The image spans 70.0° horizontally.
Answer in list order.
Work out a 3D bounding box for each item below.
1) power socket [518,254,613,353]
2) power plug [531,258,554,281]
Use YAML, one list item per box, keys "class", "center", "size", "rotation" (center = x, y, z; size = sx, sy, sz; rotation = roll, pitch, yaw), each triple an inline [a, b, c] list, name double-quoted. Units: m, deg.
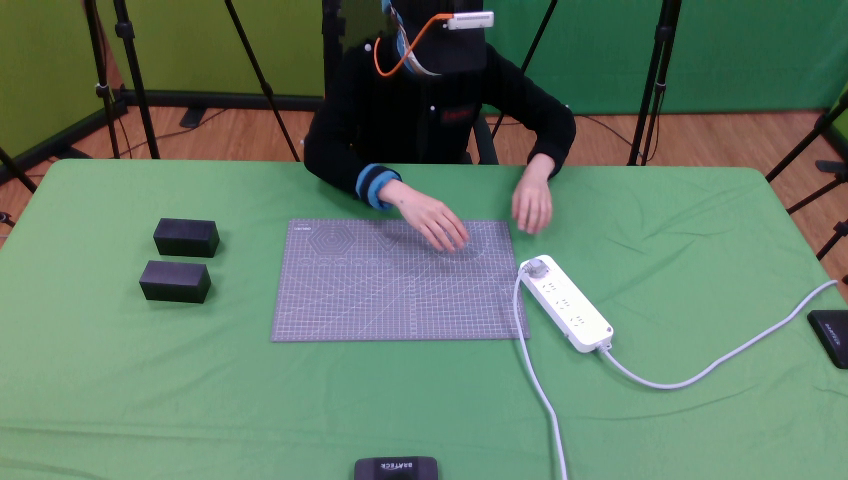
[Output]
- class: "power socket"
  center: [0.252, 0.111, 1.099]
  size: [0.072, 0.033, 0.225]
  rotation: [-19, 50, -19]
- class: "power plug"
  center: [0.231, 0.059, 1.116]
  size: [0.073, 0.035, 0.052]
  rotation: [23, 39, -11]
